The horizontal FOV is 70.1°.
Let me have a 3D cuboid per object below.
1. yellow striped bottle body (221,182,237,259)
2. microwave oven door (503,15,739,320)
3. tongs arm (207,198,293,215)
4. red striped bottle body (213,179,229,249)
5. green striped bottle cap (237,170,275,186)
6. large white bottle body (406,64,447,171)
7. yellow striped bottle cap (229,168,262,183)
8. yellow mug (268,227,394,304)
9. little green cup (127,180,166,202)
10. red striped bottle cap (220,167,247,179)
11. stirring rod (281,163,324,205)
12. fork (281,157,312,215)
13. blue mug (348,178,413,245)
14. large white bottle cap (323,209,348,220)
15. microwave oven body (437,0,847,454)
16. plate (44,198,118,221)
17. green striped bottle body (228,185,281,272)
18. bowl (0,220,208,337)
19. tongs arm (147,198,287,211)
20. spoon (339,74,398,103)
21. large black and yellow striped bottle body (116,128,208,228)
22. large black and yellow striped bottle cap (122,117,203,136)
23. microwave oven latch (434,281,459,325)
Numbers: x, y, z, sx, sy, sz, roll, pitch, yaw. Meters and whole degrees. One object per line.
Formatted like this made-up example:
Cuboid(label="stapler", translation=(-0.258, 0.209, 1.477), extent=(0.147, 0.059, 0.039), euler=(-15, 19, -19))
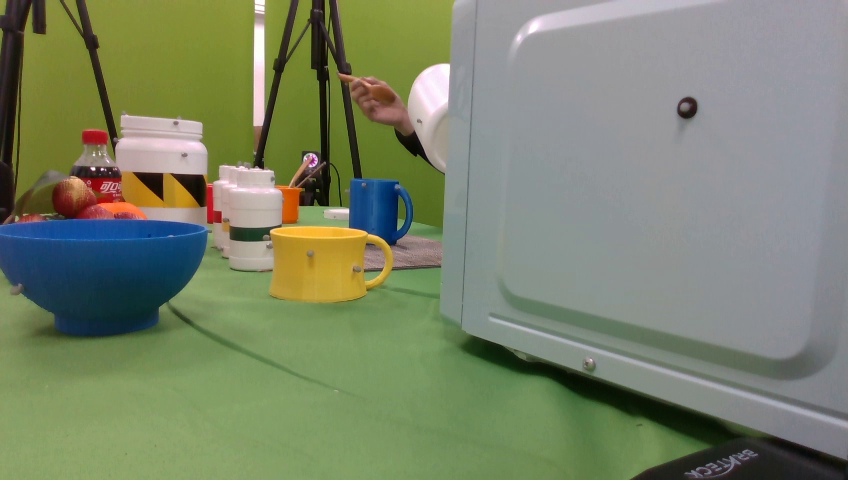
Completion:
Cuboid(label="yellow striped bottle body", translation=(-0.244, -0.035, 0.824), extent=(0.063, 0.120, 0.063), euler=(2, 8, 0))
Cuboid(label="microwave oven door", translation=(0.218, -0.065, 0.600), extent=(0.358, 0.243, 0.039), euler=(-4, 10, -41))
Cuboid(label="tongs arm", translation=(-0.423, -0.084, 1.472), extent=(0.050, 0.026, 0.386), euler=(1, 6, 21))
Cuboid(label="red striped bottle body", translation=(-0.284, -0.048, 0.909), extent=(0.063, 0.119, 0.063), euler=(3, 10, 0))
Cuboid(label="green striped bottle cap", translation=(-0.205, -0.075, 0.737), extent=(0.044, 0.020, 0.044), euler=(1, 6, 0))
Cuboid(label="large white bottle body", translation=(0.044, -0.193, 0.934), extent=(0.131, 0.130, 0.184), euler=(1, 31, -14))
Cuboid(label="yellow striped bottle cap", translation=(-0.240, -0.087, 0.816), extent=(0.044, 0.018, 0.044), euler=(-2, 5, 1))
Cuboid(label="yellow mug", translation=(-0.094, 0.023, 0.629), extent=(0.131, 0.064, 0.099), euler=(0, 7, -22))
Cuboid(label="little green cup", translation=(-0.485, -0.087, 1.062), extent=(0.061, 0.038, 0.061), euler=(0, 6, 0))
Cuboid(label="red striped bottle cap", translation=(-0.281, -0.099, 0.901), extent=(0.044, 0.017, 0.044), euler=(-1, 5, 0))
Cuboid(label="stirring rod", translation=(-0.278, -0.105, 1.293), extent=(0.176, 0.006, 0.014), euler=(-47, 25, -19))
Cuboid(label="fork", translation=(-0.289, -0.116, 1.321), extent=(0.028, 0.019, 0.207), euler=(5, 51, 20))
Cuboid(label="blue mug", translation=(-0.071, -0.047, 1.002), extent=(0.116, 0.106, 0.082), euler=(7, 9, 26))
Cuboid(label="large white bottle cap", translation=(-0.184, -0.062, 1.450), extent=(0.115, 0.018, 0.115), euler=(2, 8, 0))
Cuboid(label="microwave oven body", translation=(0.279, -0.040, 0.464), extent=(0.444, 0.260, 0.324), euler=(-3, 9, -41))
Cuboid(label="plate", translation=(-0.617, -0.056, 1.179), extent=(0.209, 0.038, 0.209), euler=(3, 7, 0))
Cuboid(label="green striped bottle body", translation=(-0.208, -0.023, 0.745), extent=(0.063, 0.119, 0.063), euler=(2, 7, 0))
Cuboid(label="bowl", translation=(-0.251, 0.029, 0.479), extent=(0.151, 0.077, 0.151), euler=(2, 7, 0))
Cuboid(label="tongs arm", translation=(-0.504, -0.090, 1.513), extent=(0.028, 0.028, 0.389), euler=(-1, 3, 38))
Cuboid(label="spoon", translation=(-0.107, -0.285, 1.116), extent=(0.192, 0.021, 0.042), euler=(37, -10, 48))
Cuboid(label="large black and yellow striped bottle body", translation=(-0.404, -0.089, 0.937), extent=(0.131, 0.184, 0.130), euler=(3, 7, 0))
Cuboid(label="large black and yellow striped bottle cap", translation=(-0.399, -0.174, 0.927), extent=(0.115, 0.019, 0.115), euler=(5, 9, -1))
Cuboid(label="microwave oven latch", translation=(0.044, 0.045, 0.470), extent=(0.079, 0.029, 0.030), euler=(-2, 8, -39))
